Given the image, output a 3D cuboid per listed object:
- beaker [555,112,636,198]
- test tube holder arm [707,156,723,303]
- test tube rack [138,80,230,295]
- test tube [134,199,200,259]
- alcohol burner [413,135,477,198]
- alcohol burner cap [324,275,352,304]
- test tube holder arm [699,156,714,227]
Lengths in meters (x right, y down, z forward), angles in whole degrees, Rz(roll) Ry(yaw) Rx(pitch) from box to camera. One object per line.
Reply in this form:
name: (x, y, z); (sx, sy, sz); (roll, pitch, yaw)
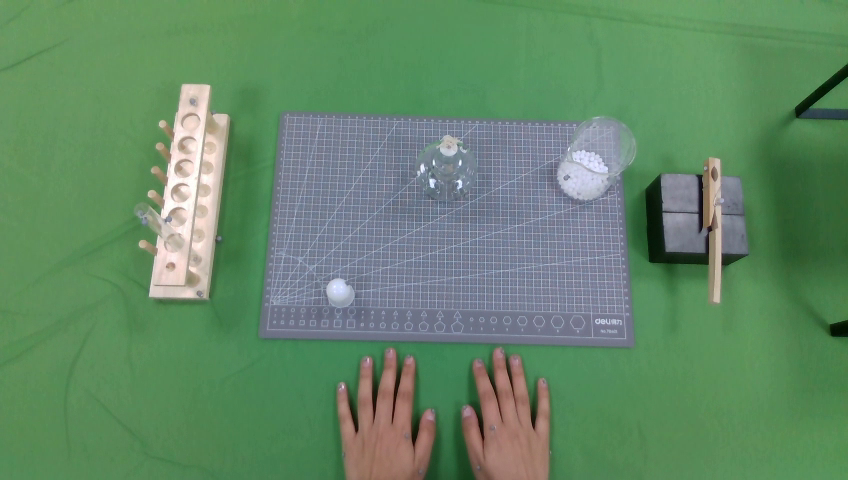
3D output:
beaker: (0.202, -0.098, 0.740); (0.084, 0.101, 0.073); (-20, 75, -7)
test tube holder arm: (0.344, -0.015, 0.719); (0.013, 0.015, 0.177); (2, 76, 0)
test tube rack: (-0.289, -0.061, 0.721); (0.067, 0.085, 0.241); (2, 74, -1)
test tube: (-0.274, -0.008, 0.655); (0.017, 0.151, 0.017); (0, 70, 0)
alcohol burner: (0.026, -0.096, 0.725); (0.078, 0.119, 0.077); (0, 75, 0)
alcohol burner cap: (-0.103, 0.056, 0.715); (0.034, 0.048, 0.033); (1, 74, -3)
test tube holder arm: (0.341, -0.058, 0.730); (0.010, 0.015, 0.087); (4, 76, 1)
